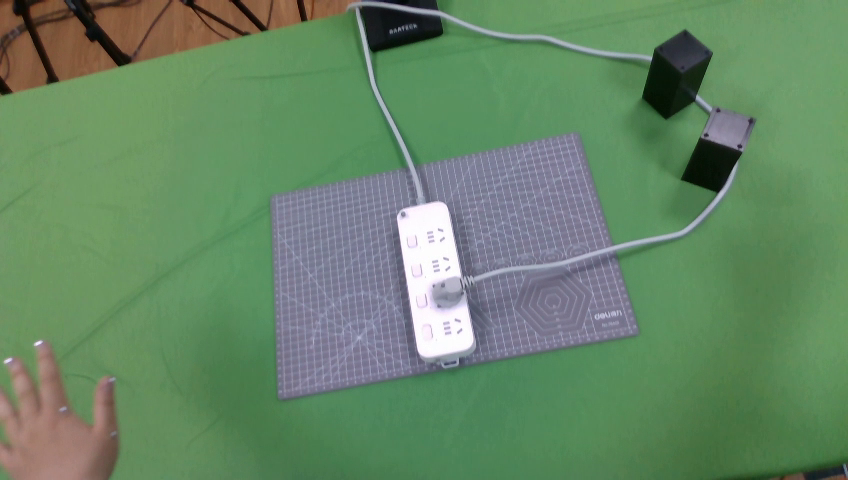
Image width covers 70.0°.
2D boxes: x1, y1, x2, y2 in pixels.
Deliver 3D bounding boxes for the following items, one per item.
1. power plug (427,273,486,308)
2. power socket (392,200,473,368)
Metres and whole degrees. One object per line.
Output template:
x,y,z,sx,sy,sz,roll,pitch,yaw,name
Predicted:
0.040,0.065,0.740,0.072,0.053,0.035,-1,67,6,power plug
0.009,0.049,0.772,0.072,0.033,0.224,-12,65,3,power socket
